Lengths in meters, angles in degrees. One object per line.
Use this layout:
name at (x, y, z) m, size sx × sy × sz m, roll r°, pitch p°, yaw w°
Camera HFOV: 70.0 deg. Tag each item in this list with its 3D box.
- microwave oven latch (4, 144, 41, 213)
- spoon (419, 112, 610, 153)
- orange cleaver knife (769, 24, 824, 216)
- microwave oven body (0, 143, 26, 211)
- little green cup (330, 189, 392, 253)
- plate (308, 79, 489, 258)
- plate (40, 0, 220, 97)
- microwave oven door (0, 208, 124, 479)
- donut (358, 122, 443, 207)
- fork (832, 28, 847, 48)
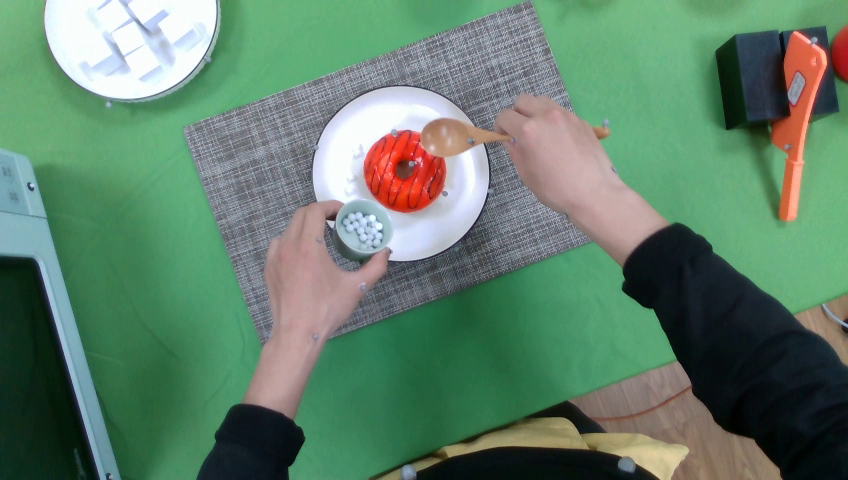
microwave oven latch at (-0.472, -0.069, 0.699) m, size 0.030 × 0.029 × 0.079 m, roll -17°, pitch 88°, yaw -1°
spoon at (0.083, -0.106, 0.598) m, size 0.192 × 0.022 × 0.042 m, roll 5°, pitch 99°, yaw 29°
orange cleaver knife at (0.416, -0.133, 0.690) m, size 0.012 × 0.076 × 0.213 m, roll -5°, pitch 117°, yaw 3°
microwave oven body at (-0.562, 0.139, 0.596) m, size 0.326 × 0.260 × 0.441 m, roll -18°, pitch 88°, yaw -1°
little green cup at (-0.067, -0.018, 0.623) m, size 0.062 × 0.039 × 0.061 m, roll 13°, pitch 48°, yaw -14°
plate at (-0.029, -0.082, 0.711) m, size 0.209 × 0.038 × 0.209 m, roll 0°, pitch 88°, yaw 1°
plate at (-0.344, -0.270, 0.724) m, size 0.208 × 0.039 × 0.207 m, roll 0°, pitch 88°, yaw 1°
microwave oven door at (-0.410, 0.136, 0.590) m, size 0.039 × 0.244 × 0.355 m, roll -18°, pitch 87°, yaw 0°
donut at (-0.027, -0.087, 0.700) m, size 0.099 × 0.048 × 0.099 m, roll 0°, pitch 90°, yaw 2°
fork at (0.569, -0.232, 0.661) m, size 0.206 × 0.019 × 0.028 m, roll 7°, pitch 85°, yaw 43°
